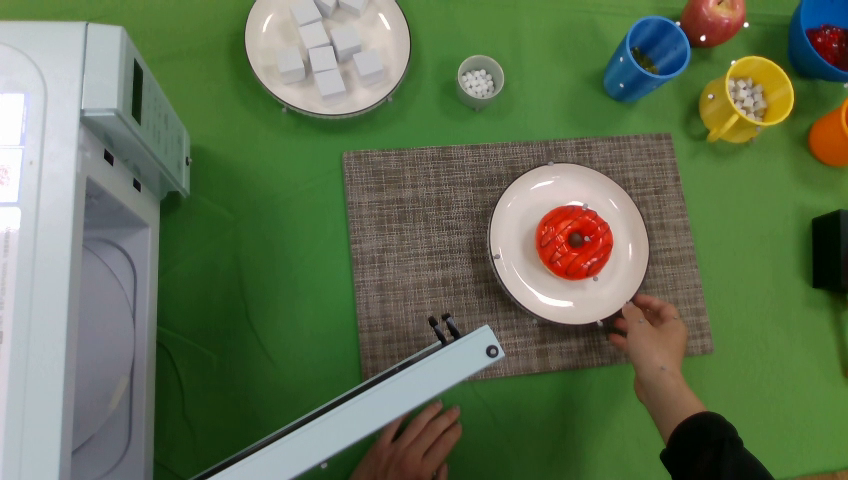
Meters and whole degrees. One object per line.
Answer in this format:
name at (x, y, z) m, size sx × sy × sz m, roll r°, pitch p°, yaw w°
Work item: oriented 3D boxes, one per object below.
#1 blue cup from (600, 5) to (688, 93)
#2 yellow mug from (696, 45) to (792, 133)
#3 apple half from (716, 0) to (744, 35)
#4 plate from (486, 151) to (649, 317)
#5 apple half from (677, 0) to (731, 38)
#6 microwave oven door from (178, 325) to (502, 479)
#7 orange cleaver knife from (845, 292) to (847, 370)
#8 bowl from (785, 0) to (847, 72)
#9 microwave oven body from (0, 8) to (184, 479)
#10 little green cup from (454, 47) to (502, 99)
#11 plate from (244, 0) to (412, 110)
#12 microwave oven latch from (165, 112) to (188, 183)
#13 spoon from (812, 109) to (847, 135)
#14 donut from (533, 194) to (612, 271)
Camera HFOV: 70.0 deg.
blue cup at (0.279, -0.241, 0.795) m, size 0.093 × 0.100 × 0.092 m, roll 1°, pitch 80°, yaw -8°
yellow mug at (0.425, -0.193, 0.823) m, size 0.100 × 0.064 × 0.130 m, roll 42°, pitch 78°, yaw 1°
apple half at (0.421, -0.324, 0.844) m, size 0.033 × 0.081 × 0.081 m, roll 1°, pitch 78°, yaw -5°
plate at (0.177, -0.006, 0.762) m, size 0.209 × 0.038 × 0.208 m, roll 2°, pitch 79°, yaw -7°
apple half at (0.382, -0.323, 0.840) m, size 0.053 × 0.075 × 0.080 m, roll 0°, pitch 82°, yaw -4°
microwave oven door at (-0.109, 0.177, 0.568) m, size 0.356 × 0.244 × 0.039 m, roll -27°, pitch 82°, yaw -12°
orange cleaver knife at (0.581, 0.066, 0.785) m, size 0.012 × 0.077 × 0.212 m, roll 10°, pitch 107°, yaw -3°
bowl at (0.573, -0.298, 0.859) m, size 0.152 × 0.077 × 0.150 m, roll 1°, pitch 79°, yaw -7°
microwave oven body at (-0.414, 0.052, 0.556) m, size 0.327 × 0.260 × 0.440 m, roll -2°, pitch 80°, yaw -9°
little green cup at (0.068, -0.217, 0.793) m, size 0.062 × 0.039 × 0.061 m, roll 2°, pitch 78°, yaw -7°
plate at (-0.121, -0.259, 0.776) m, size 0.208 × 0.039 × 0.206 m, roll 2°, pitch 78°, yaw -7°
microwave oven latch at (-0.290, -0.107, 0.703) m, size 0.030 × 0.029 × 0.079 m, roll 0°, pitch 79°, yaw -8°
spoon at (0.616, -0.142, 0.798) m, size 0.041 × 0.192 × 0.022 m, roll -48°, pitch 132°, yaw -13°
donut at (0.183, -0.009, 0.753) m, size 0.099 × 0.048 × 0.098 m, roll 1°, pitch 79°, yaw -6°
